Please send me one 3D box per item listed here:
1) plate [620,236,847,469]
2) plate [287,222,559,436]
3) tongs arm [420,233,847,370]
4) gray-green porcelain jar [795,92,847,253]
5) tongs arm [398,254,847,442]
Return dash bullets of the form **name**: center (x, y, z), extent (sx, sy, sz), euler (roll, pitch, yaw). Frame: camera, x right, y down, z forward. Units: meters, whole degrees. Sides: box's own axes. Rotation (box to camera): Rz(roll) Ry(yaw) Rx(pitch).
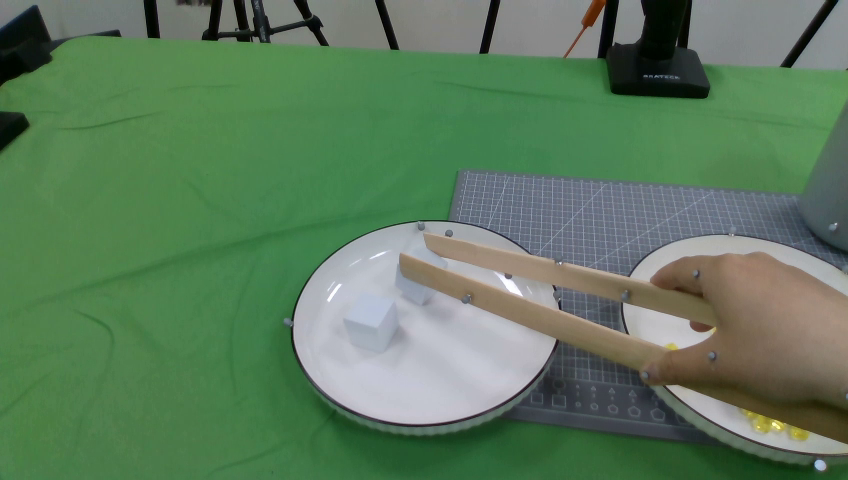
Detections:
- **plate**: center (0.252, 0.079, 0.457), extent (0.208, 0.039, 0.205), euler (-1, 42, 1)
- **plate**: center (0.001, 0.066, 0.478), extent (0.209, 0.038, 0.207), euler (-2, 42, 2)
- **tongs arm**: center (0.153, 0.053, 0.397), extent (0.382, 0.027, 0.050), euler (13, 40, 28)
- **gray-green porcelain jar**: center (0.401, -0.056, 0.534), extent (0.106, 0.127, 0.105), euler (-1, 42, 1)
- **tongs arm**: center (0.140, 0.066, 0.382), extent (0.384, 0.028, 0.028), euler (16, 39, 31)
